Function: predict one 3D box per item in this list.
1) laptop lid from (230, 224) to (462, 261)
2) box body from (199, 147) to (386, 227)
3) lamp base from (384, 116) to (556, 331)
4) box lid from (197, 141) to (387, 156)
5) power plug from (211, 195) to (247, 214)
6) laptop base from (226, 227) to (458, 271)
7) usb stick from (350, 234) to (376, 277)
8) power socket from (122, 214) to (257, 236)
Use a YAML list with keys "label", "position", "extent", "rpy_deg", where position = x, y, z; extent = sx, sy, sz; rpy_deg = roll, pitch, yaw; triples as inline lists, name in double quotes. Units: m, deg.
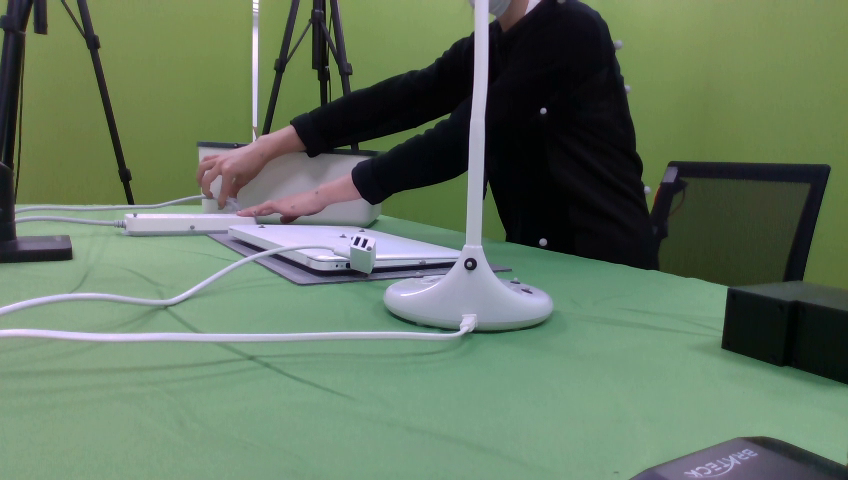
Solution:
- label: "laptop lid"
  position: [-0.119, 0.000, 0.888]
  extent: [0.243, 0.013, 0.355]
  rpy_deg: [1, 7, -33]
- label: "box body"
  position: [-0.277, -0.124, 1.334]
  extent: [0.364, 0.160, 0.254]
  rpy_deg: [3, 7, 1]
- label: "lamp base"
  position: [0.046, -0.019, 0.545]
  extent: [0.161, 0.180, 0.179]
  rpy_deg: [2, 10, -4]
- label: "box lid"
  position: [-0.275, -0.198, 1.325]
  extent: [0.372, 0.015, 0.263]
  rpy_deg: [3, 8, 1]
- label: "power plug"
  position: [-0.372, -0.057, 1.158]
  extent: [0.072, 0.052, 0.035]
  rpy_deg: [20, 24, 30]
- label: "laptop base"
  position: [-0.122, 0.011, 0.889]
  extent: [0.237, 0.023, 0.352]
  rpy_deg: [2, 6, -35]
- label: "usb stick"
  position: [-0.069, 0.020, 0.689]
  extent: [0.027, 0.059, 0.021]
  rpy_deg: [12, 54, 8]
- label: "power socket"
  position: [-0.399, -0.028, 1.049]
  extent: [0.228, 0.032, 0.072]
  rpy_deg: [-2, 8, -33]
